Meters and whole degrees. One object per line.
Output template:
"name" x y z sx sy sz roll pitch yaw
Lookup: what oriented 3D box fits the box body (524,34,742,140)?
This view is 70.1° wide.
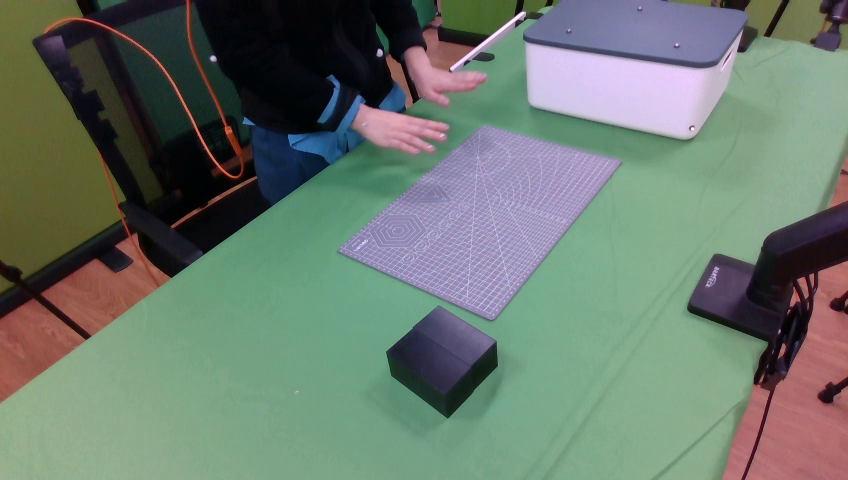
"box body" 0.412 -0.354 1.212 0.361 0.161 0.254 20 48 29

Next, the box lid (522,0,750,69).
"box lid" 0.405 -0.409 1.163 0.369 0.015 0.264 20 47 29
